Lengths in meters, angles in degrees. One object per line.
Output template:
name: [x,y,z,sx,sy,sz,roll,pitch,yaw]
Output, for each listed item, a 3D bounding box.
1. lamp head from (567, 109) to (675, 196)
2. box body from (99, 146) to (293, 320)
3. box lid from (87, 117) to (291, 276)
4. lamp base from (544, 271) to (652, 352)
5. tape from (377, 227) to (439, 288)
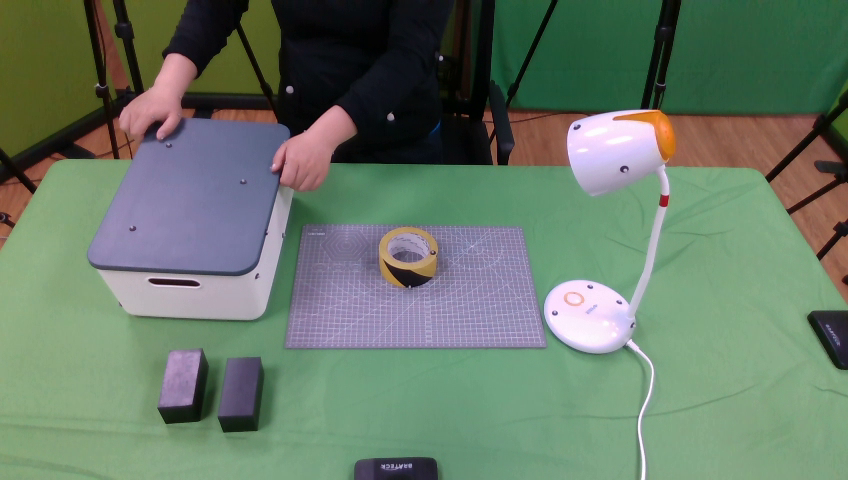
lamp head: [0.272,-0.123,0.818,0.122,0.113,0.112,-9,35,37]
box body: [-0.390,-0.041,1.099,0.254,0.161,0.361,3,49,-2]
box lid: [-0.387,-0.088,1.042,0.263,0.015,0.369,3,49,-1]
lamp base: [0.310,0.086,1.029,0.178,0.181,0.160,32,52,21]
tape: [-0.031,0.032,1.140,0.117,0.053,0.116,2,46,-2]
